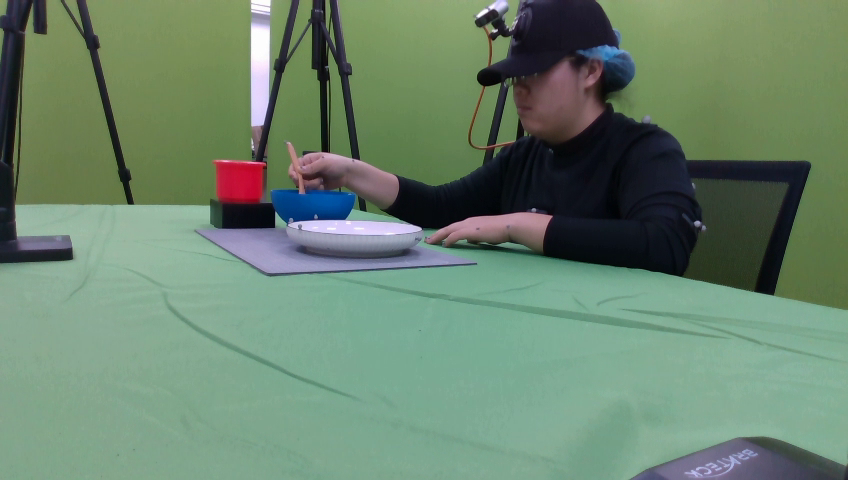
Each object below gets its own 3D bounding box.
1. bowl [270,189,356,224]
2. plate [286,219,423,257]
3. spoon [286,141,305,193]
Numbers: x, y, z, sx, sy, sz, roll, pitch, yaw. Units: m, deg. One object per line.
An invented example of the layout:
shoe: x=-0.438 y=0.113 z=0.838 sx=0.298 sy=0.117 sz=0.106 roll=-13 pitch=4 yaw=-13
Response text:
bowl: x=-0.199 y=-0.049 z=1.080 sx=0.151 sy=0.077 sz=0.151 roll=3 pitch=7 yaw=0
plate: x=-0.105 y=-0.004 z=0.922 sx=0.208 sy=0.039 sz=0.207 roll=3 pitch=8 yaw=0
spoon: x=-0.229 y=-0.107 z=1.116 sx=0.042 sy=0.193 sz=0.021 roll=10 pitch=-35 yaw=-44
